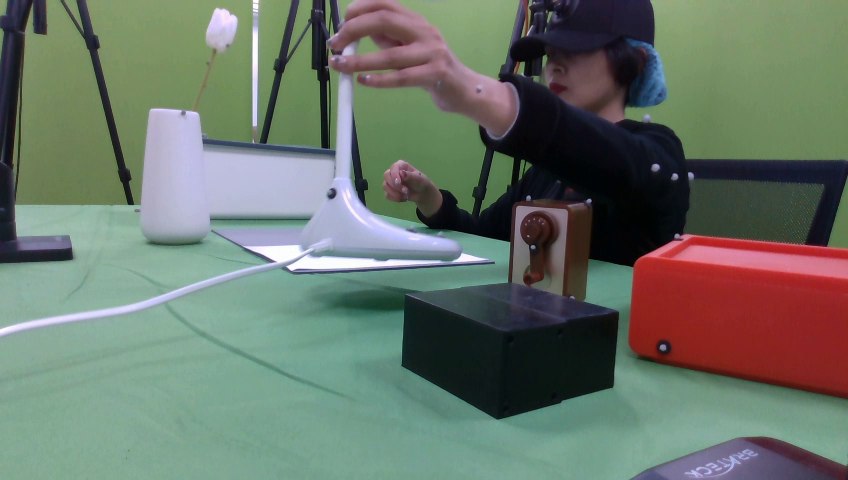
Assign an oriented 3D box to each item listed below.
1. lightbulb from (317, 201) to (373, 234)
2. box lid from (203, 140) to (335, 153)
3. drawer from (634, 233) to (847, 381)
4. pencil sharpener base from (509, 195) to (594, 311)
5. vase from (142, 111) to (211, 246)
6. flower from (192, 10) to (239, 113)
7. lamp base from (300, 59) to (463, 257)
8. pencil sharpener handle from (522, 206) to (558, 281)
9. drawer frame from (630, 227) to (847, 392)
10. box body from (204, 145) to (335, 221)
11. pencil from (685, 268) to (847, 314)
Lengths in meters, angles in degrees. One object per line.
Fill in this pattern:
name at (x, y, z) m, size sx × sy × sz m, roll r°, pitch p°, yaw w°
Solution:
lightbulb at (-0.143, -0.036, 1.108) m, size 0.108 × 0.059 × 0.059 m, roll 16°, pitch 0°, yaw -28°
box lid at (-0.396, -0.213, 1.373) m, size 0.373 × 0.015 × 0.262 m, roll -1°, pitch 9°, yaw -29°
drawer at (0.291, 0.045, 0.488) m, size 0.193 × 0.073 × 0.213 m, roll 7°, pitch 10°, yaw 30°
pencil sharpener base at (0.126, 0.011, 0.601) m, size 0.061 × 0.107 × 0.077 m, roll 7°, pitch 9°, yaw 30°
vase at (-0.378, -0.093, 0.920) m, size 0.098 × 0.200 × 0.098 m, roll 2°, pitch 9°, yaw 0°
flower at (-0.354, -0.174, 0.915) m, size 0.038 × 0.361 × 0.044 m, roll 17°, pitch -3°, yaw 13°
lamp base at (-0.044, -0.073, 0.584) m, size 0.160 × 0.180 × 0.180 m, roll 2°, pitch 2°, yaw 26°
pencil sharpener handle at (0.101, 0.003, 0.555) m, size 0.036 × 0.067 × 0.031 m, roll 1°, pitch 6°, yaw 31°
drawer frame at (0.292, 0.043, 0.484) m, size 0.201 × 0.082 × 0.214 m, roll 7°, pitch 9°, yaw 29°
box body at (-0.411, -0.135, 1.386) m, size 0.366 × 0.160 × 0.253 m, roll -2°, pitch 9°, yaw -29°
pencil at (0.307, 0.045, 0.516) m, size 0.194 × 0.012 × 0.012 m, roll 13°, pitch 5°, yaw -12°
